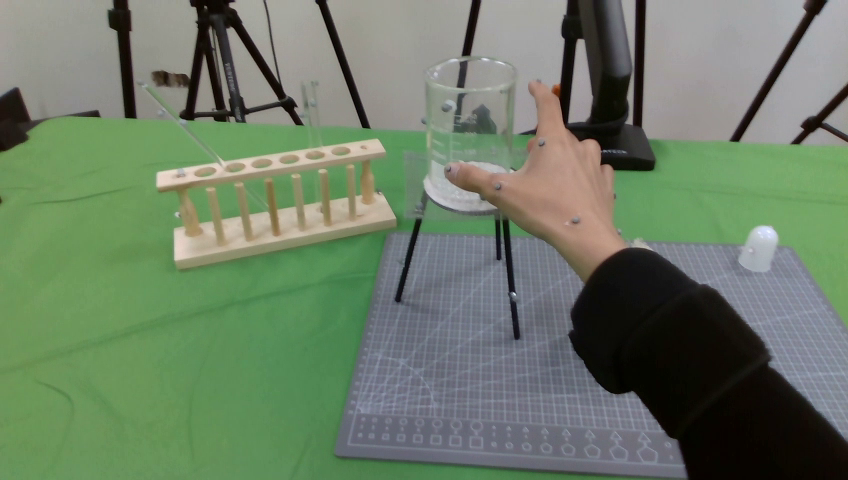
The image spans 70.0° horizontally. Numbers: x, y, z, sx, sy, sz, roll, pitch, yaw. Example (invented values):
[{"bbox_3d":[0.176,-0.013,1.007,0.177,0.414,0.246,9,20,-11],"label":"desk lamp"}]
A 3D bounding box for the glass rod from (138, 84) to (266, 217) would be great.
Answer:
[{"bbox_3d":[-0.222,-0.084,0.638,0.008,0.202,0.008,-22,40,20],"label":"glass rod"}]

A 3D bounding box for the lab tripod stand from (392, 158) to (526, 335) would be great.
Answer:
[{"bbox_3d":[0.040,0.002,0.563,0.148,0.132,0.147,-1,37,1],"label":"lab tripod stand"}]

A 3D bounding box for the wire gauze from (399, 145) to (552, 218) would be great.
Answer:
[{"bbox_3d":[0.039,-0.050,0.524,0.125,0.011,0.120,-4,33,2],"label":"wire gauze"}]

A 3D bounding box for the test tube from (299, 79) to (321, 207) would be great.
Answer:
[{"bbox_3d":[-0.125,-0.104,0.675,0.017,0.151,0.017,1,33,0],"label":"test tube"}]

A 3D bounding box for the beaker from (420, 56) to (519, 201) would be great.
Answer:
[{"bbox_3d":[0.033,-0.090,0.495,0.083,0.101,0.074,21,41,29],"label":"beaker"}]

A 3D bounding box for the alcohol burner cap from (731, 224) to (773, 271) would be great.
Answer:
[{"bbox_3d":[0.345,0.005,0.634,0.034,0.048,0.033,0,36,0],"label":"alcohol burner cap"}]

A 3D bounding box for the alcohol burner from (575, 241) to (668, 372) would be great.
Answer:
[{"bbox_3d":[0.168,0.052,0.509,0.078,0.120,0.077,0,34,1],"label":"alcohol burner"}]

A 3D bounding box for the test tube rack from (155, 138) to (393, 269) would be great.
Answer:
[{"bbox_3d":[-0.162,-0.044,0.677,0.243,0.086,0.066,-12,37,-15],"label":"test tube rack"}]
